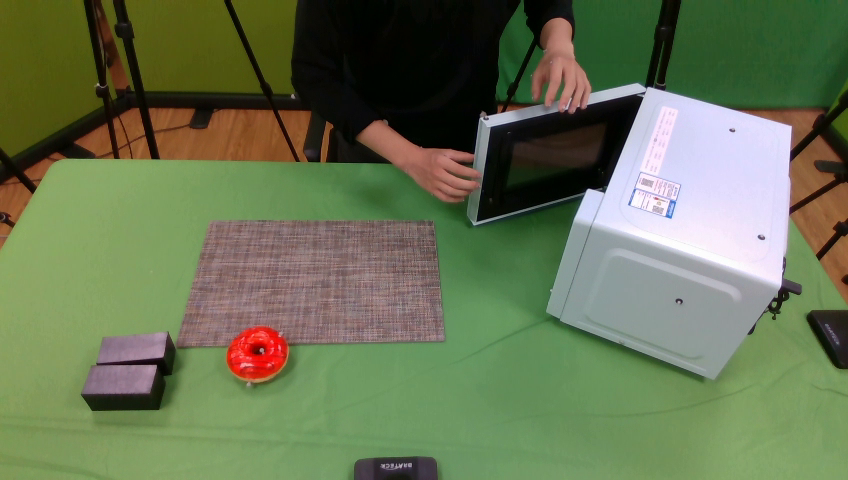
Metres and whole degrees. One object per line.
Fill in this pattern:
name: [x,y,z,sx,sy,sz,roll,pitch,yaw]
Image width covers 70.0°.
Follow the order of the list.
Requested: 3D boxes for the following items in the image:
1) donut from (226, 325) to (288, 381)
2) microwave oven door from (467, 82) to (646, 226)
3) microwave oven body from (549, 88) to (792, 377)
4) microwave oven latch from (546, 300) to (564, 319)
donut: [-0.270,0.182,0.984,0.099,0.048,0.098,5,49,-5]
microwave oven door: [0.261,-0.171,1.203,0.356,0.245,0.039,-16,48,-18]
microwave oven body: [0.456,-0.028,1.088,0.325,0.261,0.440,20,47,16]
microwave oven latch: [0.242,0.102,1.081,0.030,0.029,0.079,21,48,17]
